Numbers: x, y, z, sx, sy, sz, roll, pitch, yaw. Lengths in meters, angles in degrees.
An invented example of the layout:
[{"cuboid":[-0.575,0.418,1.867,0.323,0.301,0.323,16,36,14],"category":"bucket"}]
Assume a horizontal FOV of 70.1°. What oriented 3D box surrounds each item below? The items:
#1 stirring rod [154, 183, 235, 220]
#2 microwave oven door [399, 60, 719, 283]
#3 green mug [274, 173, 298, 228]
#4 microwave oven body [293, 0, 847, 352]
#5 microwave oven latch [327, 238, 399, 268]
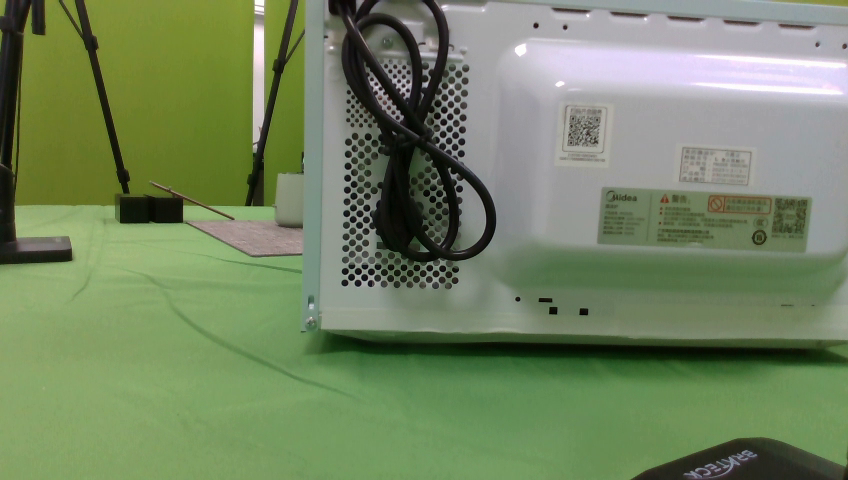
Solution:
[{"cuboid":[-0.472,-0.079,1.252,0.177,0.006,0.014,27,4,-35],"category":"stirring rod"},{"cuboid":[0.154,-0.079,0.709,0.356,0.243,0.039,3,8,-1],"category":"microwave oven door"},{"cuboid":[-0.242,-0.081,1.221,0.092,0.105,0.126,8,9,39],"category":"green mug"},{"cuboid":[0.122,-0.055,0.550,0.442,0.260,0.325,3,7,-5],"category":"microwave oven body"},{"cuboid":[-0.069,0.015,0.694,0.079,0.029,0.030,3,7,-2],"category":"microwave oven latch"}]
